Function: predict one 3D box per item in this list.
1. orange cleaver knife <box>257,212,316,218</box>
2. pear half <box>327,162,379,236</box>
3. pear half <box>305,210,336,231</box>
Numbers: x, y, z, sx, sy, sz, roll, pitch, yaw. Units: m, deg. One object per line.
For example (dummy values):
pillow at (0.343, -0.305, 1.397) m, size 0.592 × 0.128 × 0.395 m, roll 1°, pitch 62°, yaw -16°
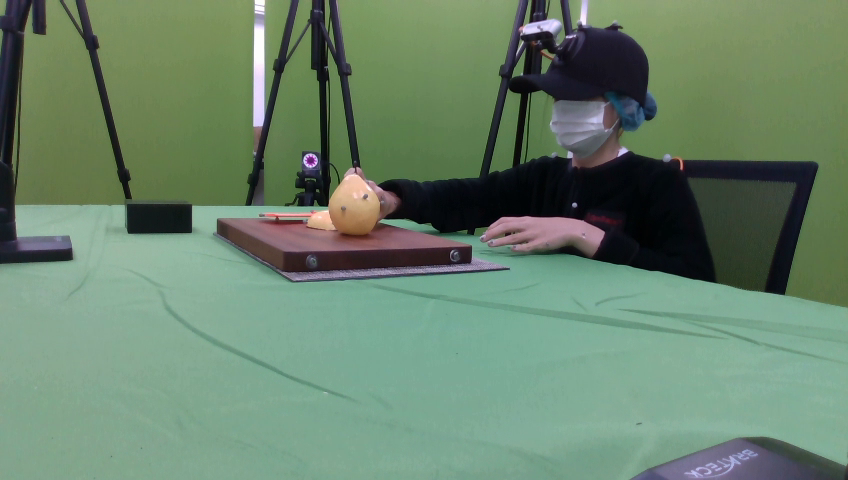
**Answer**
orange cleaver knife at (-0.209, -0.044, 1.089) m, size 0.077 × 0.012 × 0.212 m, roll 6°, pitch 5°, yaw 30°
pear half at (-0.099, -0.060, 0.888) m, size 0.077 × 0.110 × 0.055 m, roll -7°, pitch 12°, yaw -35°
pear half at (-0.156, -0.032, 0.976) m, size 0.071 × 0.031 × 0.087 m, roll -7°, pitch 8°, yaw -23°
